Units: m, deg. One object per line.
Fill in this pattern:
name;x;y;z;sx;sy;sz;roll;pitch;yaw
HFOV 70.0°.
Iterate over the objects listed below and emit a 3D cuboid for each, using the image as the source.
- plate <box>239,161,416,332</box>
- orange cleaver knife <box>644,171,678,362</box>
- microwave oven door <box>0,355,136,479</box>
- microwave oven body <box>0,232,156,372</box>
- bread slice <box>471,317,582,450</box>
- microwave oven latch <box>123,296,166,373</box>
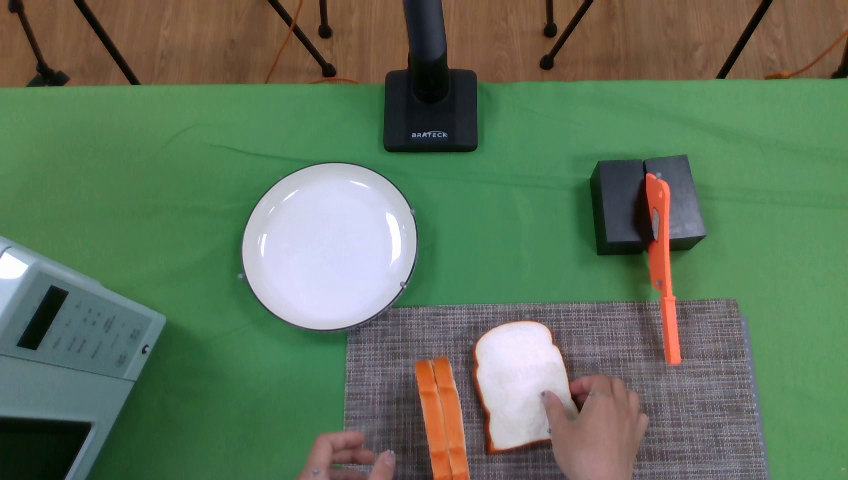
plate;-0.111;0.008;0.718;0.207;0.039;0.206;0;72;2
orange cleaver knife;0.261;0.027;0.673;0.012;0.077;0.211;-5;93;3
microwave oven door;-0.407;0.269;0.522;0.039;0.245;0.354;20;74;9
microwave oven body;-0.527;0.184;0.559;0.325;0.261;0.440;20;75;8
bread slice;0.109;0.153;0.664;0.107;0.018;0.133;-9;76;-2
microwave oven latch;-0.319;0.107;0.676;0.030;0.029;0.079;22;75;9
